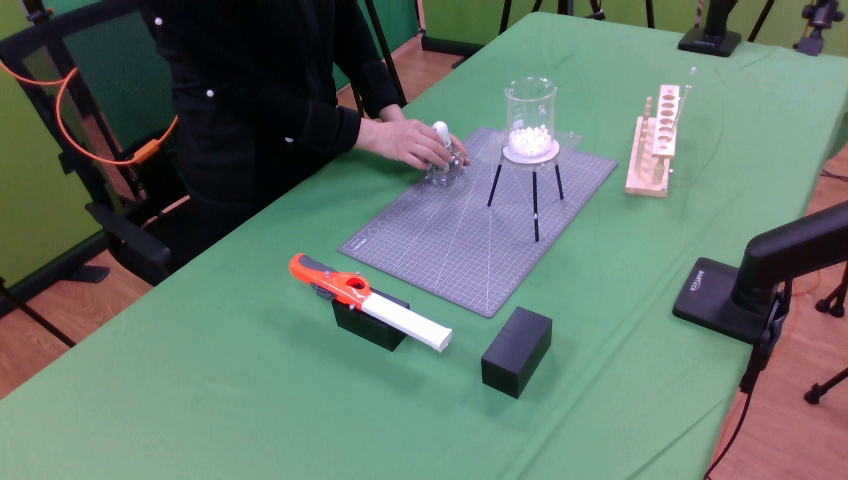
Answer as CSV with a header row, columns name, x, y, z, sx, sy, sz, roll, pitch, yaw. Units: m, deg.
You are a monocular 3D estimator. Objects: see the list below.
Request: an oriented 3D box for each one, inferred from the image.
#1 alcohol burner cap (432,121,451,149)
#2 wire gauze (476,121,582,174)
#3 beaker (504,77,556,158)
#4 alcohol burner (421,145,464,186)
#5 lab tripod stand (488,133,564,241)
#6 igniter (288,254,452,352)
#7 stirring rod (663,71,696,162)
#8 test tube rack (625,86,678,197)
name,x,y,z,sx,sy,sz,roll,pitch,yaw
alcohol burner cap,0.029,-0.186,1.058,0.034,0.048,0.033,-5,48,6
wire gauze,0.162,-0.142,0.929,0.120,0.011,0.125,19,49,32
beaker,0.160,-0.181,0.900,0.084,0.101,0.073,-33,46,-27
alcohol burner,0.032,-0.158,1.083,0.078,0.119,0.077,-5,42,5
lab tripod stand,0.168,-0.092,0.972,0.148,0.132,0.147,-5,41,5
igniter,-0.083,0.079,0.818,0.274,0.025,0.057,23,46,27
stirring rod,0.410,-0.195,0.981,0.014,0.177,0.006,11,50,13
test tube rack,0.412,-0.184,1.088,0.066,0.085,0.242,9,43,18
